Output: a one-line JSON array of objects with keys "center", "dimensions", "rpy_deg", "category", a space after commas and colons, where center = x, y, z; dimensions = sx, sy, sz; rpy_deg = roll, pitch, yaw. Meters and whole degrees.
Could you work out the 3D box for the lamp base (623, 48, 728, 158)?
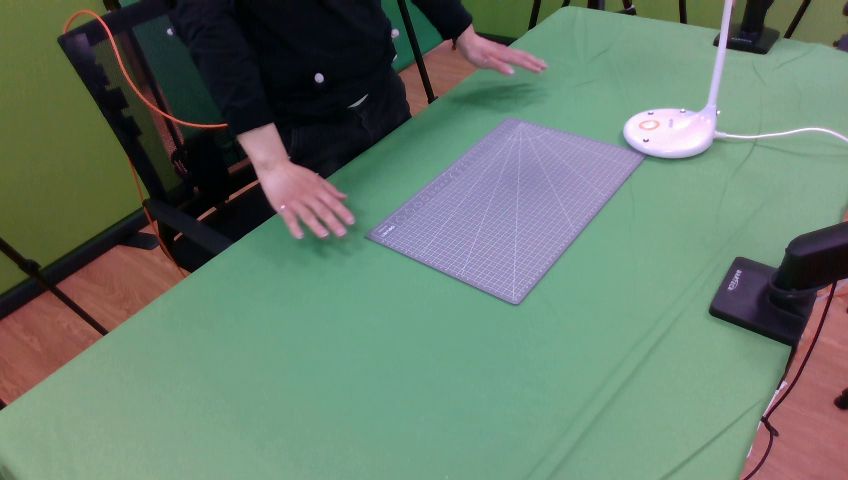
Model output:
[{"center": [0.462, -0.261, 1.084], "dimensions": [0.179, 0.181, 0.160], "rpy_deg": [3, 42, 7], "category": "lamp base"}]
